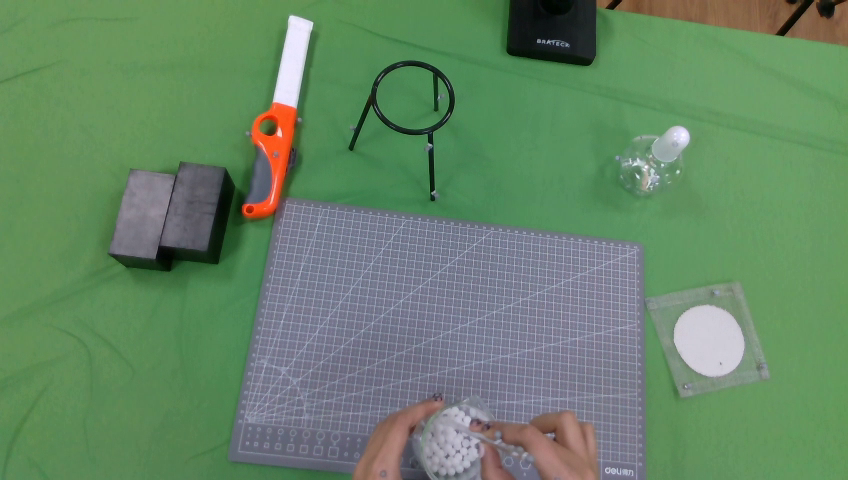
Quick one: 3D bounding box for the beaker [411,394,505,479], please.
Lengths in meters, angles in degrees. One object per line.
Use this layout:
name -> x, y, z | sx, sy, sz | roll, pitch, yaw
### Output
beaker -> 0.028, 0.185, 0.566 | 0.074, 0.100, 0.083 | 19, 74, -3

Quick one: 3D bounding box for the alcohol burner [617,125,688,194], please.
alcohol burner -> 0.281, -0.103, 0.732 | 0.078, 0.119, 0.077 | 2, 70, -5

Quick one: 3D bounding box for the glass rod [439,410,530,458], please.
glass rod -> 0.045, 0.161, 0.512 | 0.008, 0.199, 0.008 | 2, 82, -15

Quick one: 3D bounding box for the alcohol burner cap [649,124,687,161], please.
alcohol burner cap -> 0.285, -0.114, 0.698 | 0.034, 0.048, 0.033 | 1, 76, -2

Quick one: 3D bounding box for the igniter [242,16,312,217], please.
igniter -> -0.177, -0.155, 0.747 | 0.057, 0.025, 0.275 | 13, 71, -17

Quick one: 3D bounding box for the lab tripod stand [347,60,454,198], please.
lab tripod stand -> -0.018, -0.136, 0.702 | 0.148, 0.132, 0.147 | 2, 70, -4

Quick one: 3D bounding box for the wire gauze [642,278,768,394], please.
wire gauze -> 0.338, 0.113, 0.725 | 0.125, 0.011, 0.120 | -10, 74, -6
